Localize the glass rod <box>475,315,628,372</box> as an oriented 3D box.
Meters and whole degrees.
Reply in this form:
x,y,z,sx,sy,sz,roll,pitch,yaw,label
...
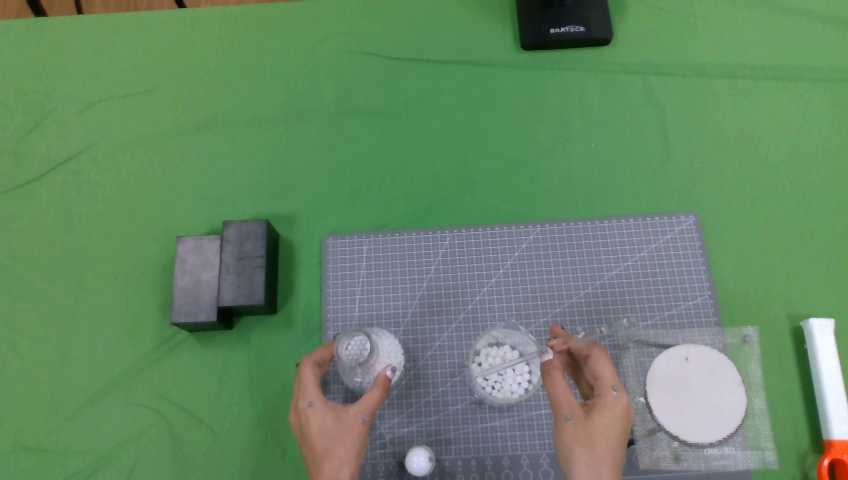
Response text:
x,y,z,sx,sy,sz,roll,pitch,yaw,label
0.104,0.095,0.539,0.008,0.200,0.008,14,62,-27,glass rod

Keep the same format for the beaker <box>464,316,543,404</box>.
x,y,z,sx,sy,sz,roll,pitch,yaw,label
0.078,0.128,0.626,0.074,0.101,0.083,7,71,4,beaker

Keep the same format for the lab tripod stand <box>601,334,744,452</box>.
x,y,z,sx,sy,sz,roll,pitch,yaw,label
0.238,0.156,0.595,0.148,0.132,0.147,0,74,2,lab tripod stand

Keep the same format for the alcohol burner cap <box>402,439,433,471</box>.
x,y,z,sx,sy,sz,roll,pitch,yaw,label
-0.008,0.224,0.628,0.034,0.048,0.033,-1,73,3,alcohol burner cap

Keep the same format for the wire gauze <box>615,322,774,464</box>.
x,y,z,sx,sy,sz,roll,pitch,yaw,label
0.236,0.133,0.531,0.125,0.011,0.120,-1,73,2,wire gauze

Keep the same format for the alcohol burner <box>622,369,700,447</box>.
x,y,z,sx,sy,sz,roll,pitch,yaw,label
0.240,0.165,0.602,0.078,0.120,0.077,-1,72,4,alcohol burner

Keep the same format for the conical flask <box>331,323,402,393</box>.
x,y,z,sx,sy,sz,roll,pitch,yaw,label
-0.064,0.113,0.609,0.075,0.122,0.075,-1,73,3,conical flask

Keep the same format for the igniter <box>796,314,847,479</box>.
x,y,z,sx,sy,sz,roll,pitch,yaw,label
0.427,0.214,0.630,0.057,0.025,0.275,4,72,-9,igniter
